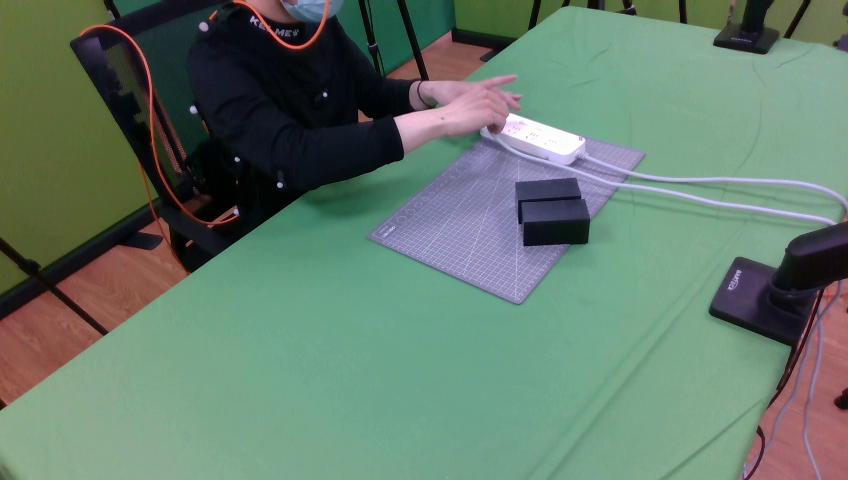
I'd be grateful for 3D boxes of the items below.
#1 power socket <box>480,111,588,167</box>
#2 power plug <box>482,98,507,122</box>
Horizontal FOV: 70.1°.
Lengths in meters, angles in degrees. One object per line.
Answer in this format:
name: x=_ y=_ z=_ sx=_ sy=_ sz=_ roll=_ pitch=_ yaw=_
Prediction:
power socket: x=0.203 y=-0.198 z=1.158 sx=0.225 sy=0.033 sz=0.072 roll=29 pitch=53 yaw=34
power plug: x=0.125 y=-0.236 z=1.132 sx=0.072 sy=0.053 sz=0.035 roll=-44 pitch=58 yaw=-15
